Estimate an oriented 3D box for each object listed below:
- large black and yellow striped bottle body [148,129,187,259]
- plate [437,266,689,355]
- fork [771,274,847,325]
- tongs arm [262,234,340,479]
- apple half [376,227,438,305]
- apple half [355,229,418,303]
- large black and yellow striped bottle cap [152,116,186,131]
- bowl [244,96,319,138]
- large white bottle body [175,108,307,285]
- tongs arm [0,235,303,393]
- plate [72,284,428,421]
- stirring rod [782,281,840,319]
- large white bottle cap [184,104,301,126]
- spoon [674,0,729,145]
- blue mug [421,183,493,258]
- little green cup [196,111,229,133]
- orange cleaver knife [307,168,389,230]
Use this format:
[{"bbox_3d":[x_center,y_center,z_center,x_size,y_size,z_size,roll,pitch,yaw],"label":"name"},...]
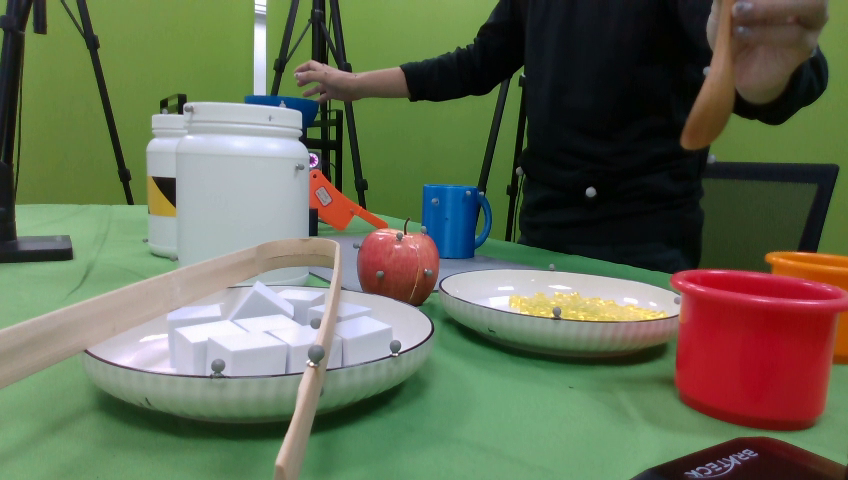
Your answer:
[{"bbox_3d":[-0.310,-0.073,0.838,0.131,0.184,0.130,2,8,0],"label":"large black and yellow striped bottle body"},{"bbox_3d":[0.113,0.057,0.518,0.209,0.038,0.209,3,7,0],"label":"plate"},{"bbox_3d":[0.332,0.018,0.442,0.028,0.018,0.207,0,-36,-15],"label":"fork"},{"bbox_3d":[-0.074,0.039,0.349,0.051,0.026,0.384,-1,10,-3],"label":"tongs arm"},{"bbox_3d":[-0.017,0.026,0.593,0.080,0.074,0.053,4,2,43],"label":"apple half"},{"bbox_3d":[-0.044,0.027,0.564,0.081,0.081,0.033,9,5,42],"label":"apple half"},{"bbox_3d":[-0.309,-0.155,0.826,0.115,0.019,0.115,3,6,0],"label":"large black and yellow striped bottle cap"},{"bbox_3d":[-0.295,-0.252,1.254,0.151,0.077,0.151,2,8,0],"label":"bowl"},{"bbox_3d":[-0.188,-0.042,0.630,0.131,0.184,0.130,2,8,0],"label":"large white bottle body"},{"bbox_3d":[-0.157,0.037,0.351,0.028,0.028,0.388,-3,8,12],"label":"tongs arm"},{"bbox_3d":[-0.102,0.066,0.381,0.208,0.039,0.207,2,7,0],"label":"plate"},{"bbox_3d":[0.345,0.019,0.460,0.014,0.006,0.176,-13,-27,-30],"label":"stirring rod"},{"bbox_3d":[-0.184,-0.126,0.618,0.115,0.018,0.115,2,8,0],"label":"large white bottle cap"},{"bbox_3d":[0.207,-0.161,0.416,0.042,0.193,0.021,-2,17,-29],"label":"spoon"},{"bbox_3d":[0.052,-0.032,0.912,0.117,0.106,0.082,-1,8,-24],"label":"blue mug"},{"bbox_3d":[-0.403,-0.225,1.154,0.061,0.038,0.061,3,8,0],"label":"little green cup"},{"bbox_3d":[-0.158,-0.060,1.166,0.212,0.077,0.012,34,-12,-32],"label":"orange cleaver knife"}]
